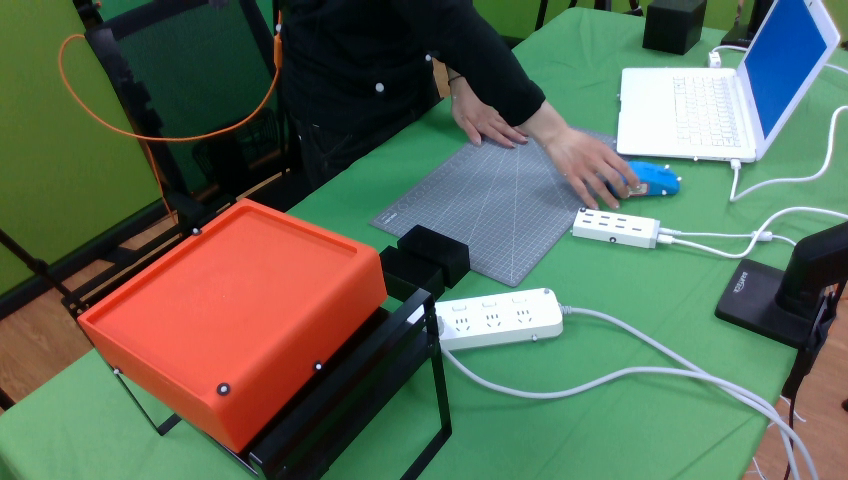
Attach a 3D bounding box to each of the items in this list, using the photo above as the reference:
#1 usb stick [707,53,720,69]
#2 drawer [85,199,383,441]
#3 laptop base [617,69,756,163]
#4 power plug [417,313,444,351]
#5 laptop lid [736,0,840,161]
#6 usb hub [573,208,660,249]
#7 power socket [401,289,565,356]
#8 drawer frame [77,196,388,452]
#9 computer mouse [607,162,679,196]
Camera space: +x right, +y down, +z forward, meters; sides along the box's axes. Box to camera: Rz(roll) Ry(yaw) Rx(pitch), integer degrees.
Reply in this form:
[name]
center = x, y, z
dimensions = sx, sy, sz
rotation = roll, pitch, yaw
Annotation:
[usb stick]
center = 0.629, -0.382, 1.313
dimensions = 0.021, 0.027, 0.059
rotation = 2, 46, 17
[drawer]
center = -0.180, 0.064, 0.600
dimensions = 0.193, 0.073, 0.212
rotation = 21, 47, 28
[laptop base]
center = 0.509, -0.255, 1.201
dimensions = 0.234, 0.023, 0.353
rotation = 4, 41, 16
[power plug]
center = 0.007, 0.127, 0.786
dimensions = 0.035, 0.053, 0.072
rotation = 0, 43, 8
[laptop lid]
center = 0.641, -0.327, 1.090
dimensions = 0.013, 0.242, 0.356
rotation = 17, 43, 5
[usb hub]
center = 0.302, -0.019, 0.949
dimensions = 0.124, 0.025, 0.049
rotation = 11, 43, 20
[power socket]
center = 0.081, 0.112, 0.822
dimensions = 0.227, 0.033, 0.072
rotation = -7, 41, 0
[drawer frame]
center = -0.179, 0.066, 0.598
dimensions = 0.200, 0.083, 0.214
rotation = 20, 48, 28
[computer mouse]
center = 0.373, -0.104, 1.028
dimensions = 0.117, 0.041, 0.062
rotation = 1, 38, 1
